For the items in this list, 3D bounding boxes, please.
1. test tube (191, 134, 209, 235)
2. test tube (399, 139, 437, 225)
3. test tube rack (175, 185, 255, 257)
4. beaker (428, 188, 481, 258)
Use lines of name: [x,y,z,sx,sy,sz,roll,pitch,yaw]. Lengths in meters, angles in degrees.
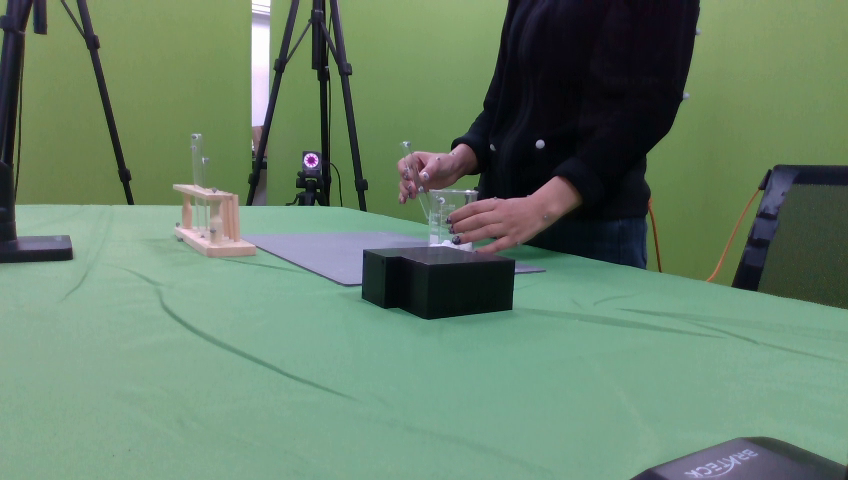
test tube: [-0.332,-0.082,0.898,0.017,0.150,0.017,-2,6,0]
test tube: [-0.009,-0.095,0.999,0.017,0.150,0.017,-20,8,3]
test tube rack: [-0.324,-0.035,0.922,0.067,0.085,0.241,-2,9,-31]
beaker: [0.041,-0.026,0.894,0.083,0.100,0.074,7,8,39]
